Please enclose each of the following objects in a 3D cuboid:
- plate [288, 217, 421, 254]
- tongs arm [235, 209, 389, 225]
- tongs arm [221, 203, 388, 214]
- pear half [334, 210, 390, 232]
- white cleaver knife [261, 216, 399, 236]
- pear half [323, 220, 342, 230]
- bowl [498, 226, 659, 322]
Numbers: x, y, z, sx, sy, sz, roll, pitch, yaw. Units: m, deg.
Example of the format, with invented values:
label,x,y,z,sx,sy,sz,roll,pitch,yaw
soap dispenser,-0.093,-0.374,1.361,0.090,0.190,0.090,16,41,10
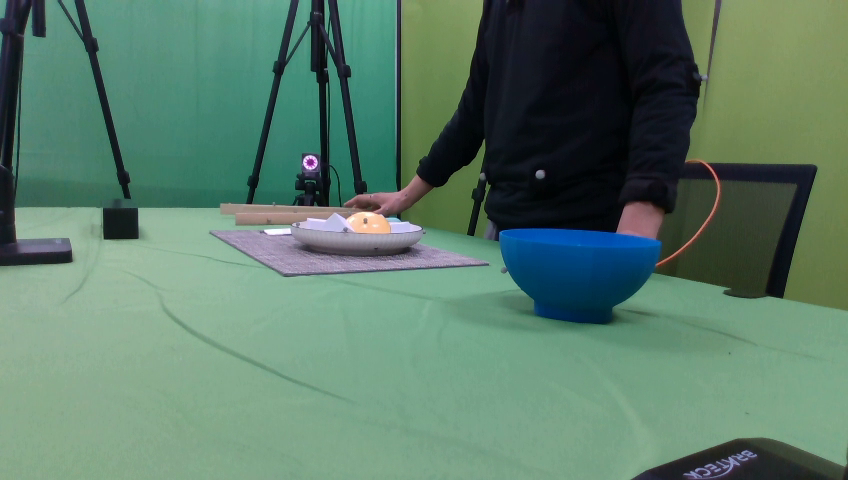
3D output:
label,x,y,z,sx,sy,sz,roll,pitch,yaw
plate,-0.109,-0.007,0.956,0.208,0.039,0.207,2,7,0
tongs arm,-0.232,-0.052,1.347,0.390,0.028,0.028,-3,7,-38
tongs arm,-0.271,-0.067,1.415,0.387,0.026,0.050,0,9,-26
pear half,-0.108,-0.017,0.920,0.110,0.056,0.076,-4,5,-20
white cleaver knife,-0.169,-0.021,1.156,0.288,0.021,0.065,-7,20,-33
pear half,-0.127,-0.019,1.001,0.088,0.031,0.070,8,4,1
bowl,0.145,0.032,0.584,0.151,0.077,0.151,2,7,0
